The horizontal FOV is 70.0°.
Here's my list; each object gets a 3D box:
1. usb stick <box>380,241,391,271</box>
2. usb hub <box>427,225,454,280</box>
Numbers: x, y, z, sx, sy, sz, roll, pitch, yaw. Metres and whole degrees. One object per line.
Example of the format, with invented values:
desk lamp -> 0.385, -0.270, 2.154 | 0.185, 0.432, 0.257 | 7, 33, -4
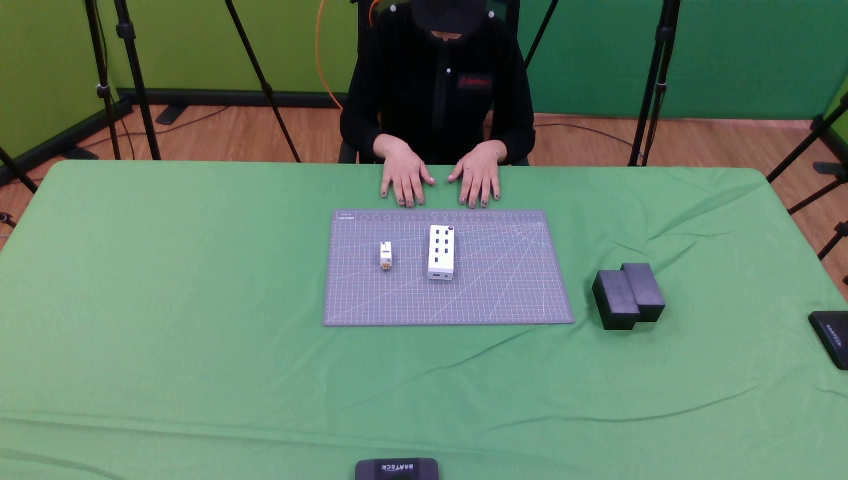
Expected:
usb stick -> -0.074, 0.031, 1.156 | 0.021, 0.027, 0.059 | 1, 49, -5
usb hub -> 0.033, 0.022, 1.174 | 0.049, 0.025, 0.124 | 4, 46, 0
